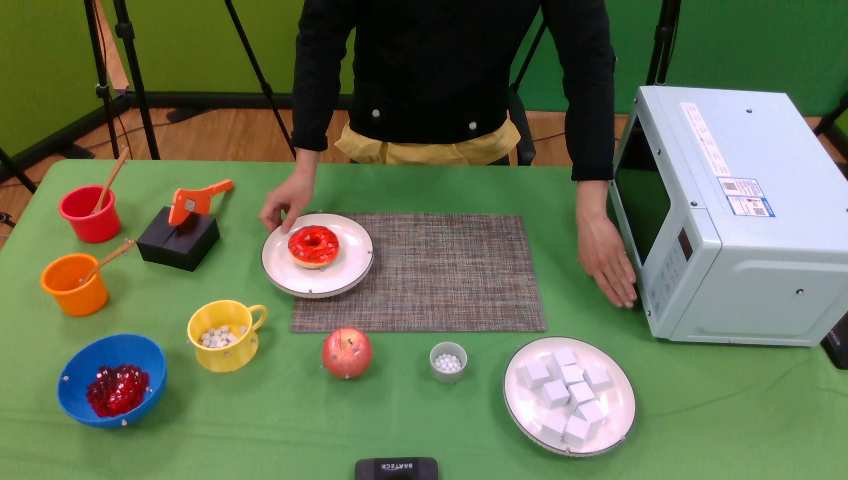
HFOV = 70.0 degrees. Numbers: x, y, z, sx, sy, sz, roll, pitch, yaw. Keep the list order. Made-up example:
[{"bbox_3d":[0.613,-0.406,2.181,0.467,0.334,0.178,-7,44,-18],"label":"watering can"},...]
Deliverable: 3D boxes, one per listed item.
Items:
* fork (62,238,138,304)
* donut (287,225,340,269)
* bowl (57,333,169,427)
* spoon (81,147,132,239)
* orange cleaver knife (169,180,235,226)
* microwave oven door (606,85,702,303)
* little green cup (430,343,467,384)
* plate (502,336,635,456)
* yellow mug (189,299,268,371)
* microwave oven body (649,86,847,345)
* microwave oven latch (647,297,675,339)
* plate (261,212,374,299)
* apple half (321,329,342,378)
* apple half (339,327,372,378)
[{"bbox_3d":[-0.547,0.053,1.018,0.207,0.019,0.028,-36,41,23],"label":"fork"},{"bbox_3d":[-0.207,0.013,1.139,0.099,0.048,0.098,3,45,-3],"label":"donut"},{"bbox_3d":[-0.456,0.223,0.912,0.151,0.077,0.150,3,45,-2],"label":"bowl"},{"bbox_3d":[-0.603,-0.089,1.156,0.041,0.022,0.193,27,94,18],"label":"spoon"},{"bbox_3d":[-0.436,-0.076,1.199,0.012,0.077,0.211,17,17,9],"label":"orange cleaver knife"},{"bbox_3d":[0.423,-0.094,1.140,0.039,0.245,0.353,2,46,-1],"label":"microwave oven door"},{"bbox_3d":[0.039,0.203,0.994,0.061,0.039,0.061,2,46,-2],"label":"little green cup"},{"bbox_3d":[0.225,0.248,0.963,0.208,0.039,0.206,2,46,-2],"label":"plate"},{"bbox_3d":[-0.316,0.148,1.002,0.131,0.064,0.099,-33,56,-31],"label":"yellow mug"},{"bbox_3d":[0.568,-0.053,1.118,0.326,0.261,0.439,2,45,-1],"label":"microwave oven body"},{"bbox_3d":[0.413,0.134,1.061,0.030,0.029,0.078,5,45,2],"label":"microwave oven latch"},{"bbox_3d":[-0.198,0.032,1.137,0.209,0.038,0.208,2,46,-2],"label":"plate"},{"bbox_3d":[-0.150,0.186,0.972,0.033,0.081,0.080,-2,46,-13],"label":"apple half"},{"bbox_3d":[-0.111,0.183,0.980,0.053,0.075,0.080,-2,42,-12],"label":"apple half"}]
